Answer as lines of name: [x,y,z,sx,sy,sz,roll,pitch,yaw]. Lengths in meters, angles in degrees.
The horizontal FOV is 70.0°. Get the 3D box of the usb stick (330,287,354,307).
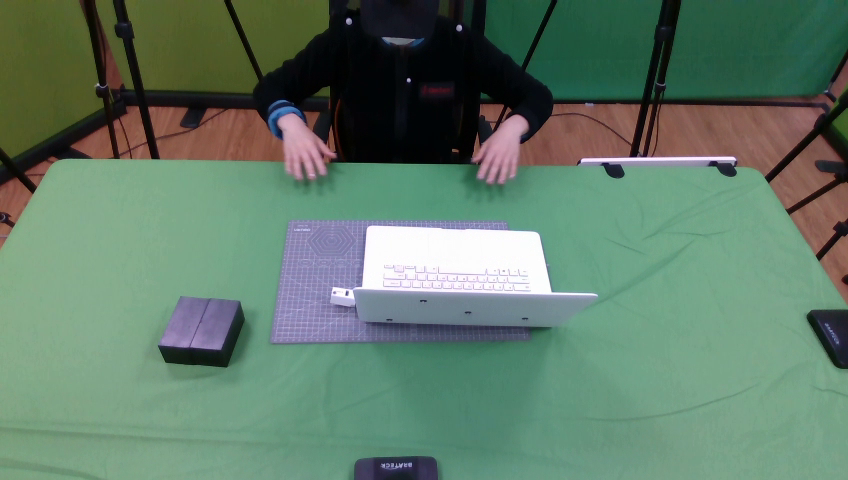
usb stick: [-0.135,0.101,1.068,0.059,0.027,0.021,13,43,-9]

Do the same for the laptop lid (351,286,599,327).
laptop lid: [0.068,0.109,0.952,0.357,0.242,0.013,2,71,-4]

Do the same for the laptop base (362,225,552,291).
laptop base: [0.061,0.063,1.145,0.354,0.023,0.234,2,43,-3]
